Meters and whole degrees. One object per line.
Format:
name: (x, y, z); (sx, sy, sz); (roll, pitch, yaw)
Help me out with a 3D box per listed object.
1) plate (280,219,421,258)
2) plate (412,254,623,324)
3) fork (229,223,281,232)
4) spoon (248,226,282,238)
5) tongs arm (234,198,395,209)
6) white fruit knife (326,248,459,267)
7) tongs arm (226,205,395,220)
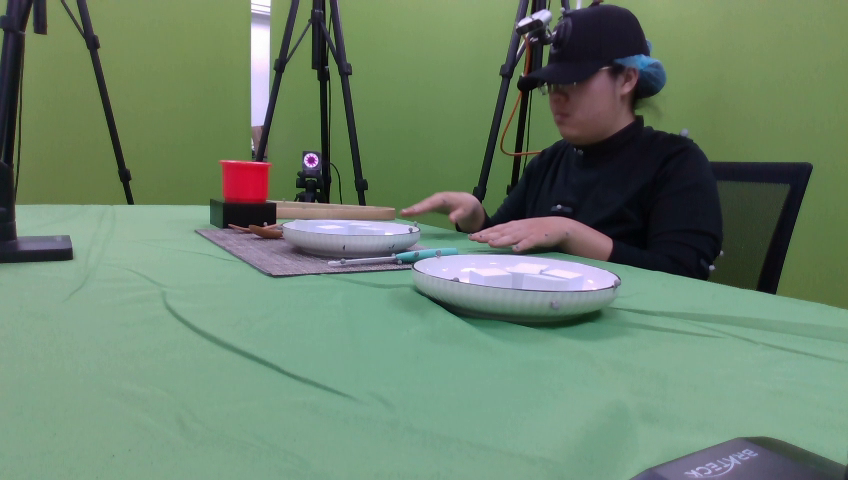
plate: (-0.108, -0.002, 0.902); (0.208, 0.039, 0.207); (3, 7, 0)
plate: (0.091, 0.047, 0.609); (0.209, 0.038, 0.209); (2, 7, 0)
fork: (-0.244, -0.024, 1.090); (0.208, 0.018, 0.028); (-3, 3, -28)
spoon: (-0.198, -0.015, 1.024); (0.195, 0.021, 0.041); (-2, -9, -30)
tongs arm: (-0.263, -0.076, 1.460); (0.386, 0.026, 0.050); (3, 7, -8)
white fruit knife: (-0.034, 0.025, 0.807); (0.208, 0.016, 0.027); (-4, -18, -34)
tongs arm: (-0.247, -0.063, 1.381); (0.389, 0.028, 0.028); (0, 4, -21)
